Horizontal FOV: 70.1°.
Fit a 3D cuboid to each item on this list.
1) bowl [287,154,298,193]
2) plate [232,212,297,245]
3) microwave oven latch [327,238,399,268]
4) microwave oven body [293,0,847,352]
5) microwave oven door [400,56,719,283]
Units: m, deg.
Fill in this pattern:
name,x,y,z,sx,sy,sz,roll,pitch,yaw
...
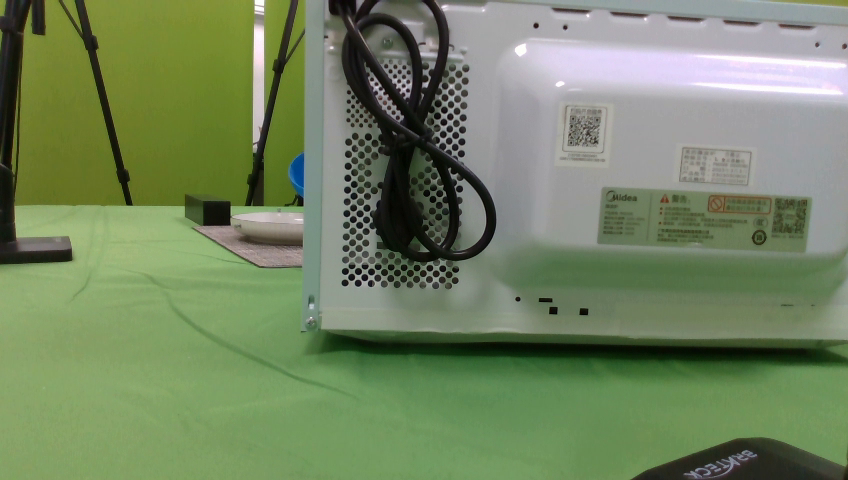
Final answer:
name,x,y,z,sx,sy,sz,roll,pitch,yaw
bowl,-0.172,-0.104,1.123,0.151,0.077,0.151,0,43,0
plate,-0.214,-0.020,1.018,0.208,0.039,0.207,2,7,0
microwave oven latch,-0.069,0.015,0.694,0.079,0.029,0.030,3,7,-3
microwave oven body,0.122,-0.055,0.550,0.442,0.260,0.325,3,7,-5
microwave oven door,0.155,-0.077,0.698,0.356,0.243,0.039,2,8,-5
